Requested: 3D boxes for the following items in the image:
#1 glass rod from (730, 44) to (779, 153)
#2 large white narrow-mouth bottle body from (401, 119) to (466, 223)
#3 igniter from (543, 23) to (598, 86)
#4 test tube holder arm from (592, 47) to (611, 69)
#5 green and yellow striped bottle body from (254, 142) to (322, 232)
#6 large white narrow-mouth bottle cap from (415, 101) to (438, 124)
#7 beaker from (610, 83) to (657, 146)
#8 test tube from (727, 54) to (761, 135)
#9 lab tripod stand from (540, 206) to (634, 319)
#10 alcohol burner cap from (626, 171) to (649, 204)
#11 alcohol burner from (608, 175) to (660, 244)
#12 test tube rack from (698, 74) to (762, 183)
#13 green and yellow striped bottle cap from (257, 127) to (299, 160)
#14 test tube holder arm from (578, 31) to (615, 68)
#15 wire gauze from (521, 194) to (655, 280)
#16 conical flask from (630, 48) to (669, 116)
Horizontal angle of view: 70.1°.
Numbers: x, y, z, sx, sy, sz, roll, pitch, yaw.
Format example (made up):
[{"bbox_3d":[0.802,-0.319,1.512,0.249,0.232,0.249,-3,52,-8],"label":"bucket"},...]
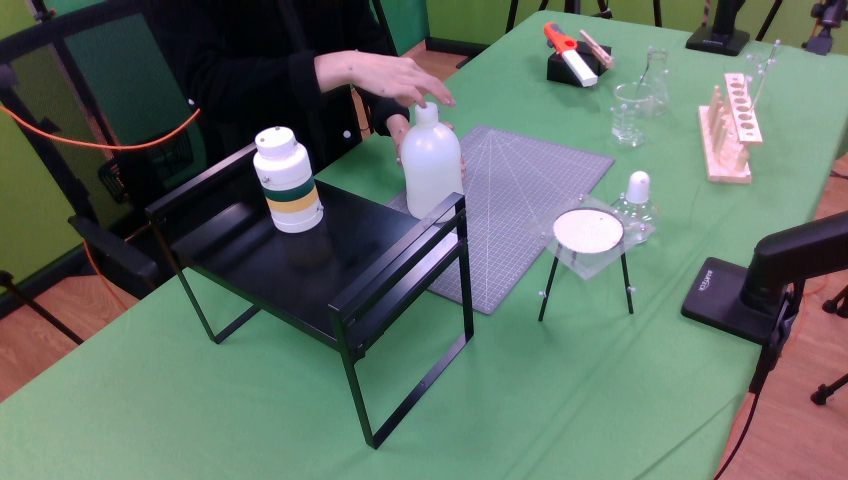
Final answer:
[{"bbox_3d":[0.555,-0.233,1.021,0.008,0.200,0.008,2,40,-1],"label":"glass rod"},{"bbox_3d":[0.013,-0.129,0.991,0.102,0.195,0.101,-5,39,4],"label":"large white narrow-mouth bottle body"},{"bbox_3d":[0.320,-0.419,1.345,0.057,0.025,0.274,-12,44,-3],"label":"igniter"},{"bbox_3d":[0.385,-0.398,1.317,0.010,0.015,0.087,-11,41,-2],"label":"test tube holder arm"},{"bbox_3d":[-0.165,-0.073,0.732,0.063,0.120,0.063,-4,41,4],"label":"green and yellow striped bottle body"},{"bbox_3d":[0.003,-0.198,0.937,0.038,0.024,0.037,-5,39,4],"label":"large white narrow-mouth bottle cap"},{"bbox_3d":[0.388,-0.235,1.138,0.074,0.101,0.083,-31,45,-25],"label":"beaker"},{"bbox_3d":[0.564,-0.254,1.069,0.017,0.151,0.017,-1,40,1],"label":"test tube"},{"bbox_3d":[0.218,0.034,0.821,0.148,0.132,0.147,-4,42,4],"label":"lab tripod stand"},{"bbox_3d":[0.320,-0.081,0.900,0.034,0.048,0.033,-4,42,4],"label":"alcohol burner cap"},{"bbox_3d":[0.322,-0.053,0.924,0.078,0.119,0.077,-4,43,4],"label":"alcohol burner"},{"bbox_3d":[0.547,-0.208,1.095,0.066,0.085,0.242,5,42,15],"label":"test tube rack"},{"bbox_3d":[-0.169,-0.112,0.698,0.045,0.020,0.045,-5,40,5],"label":"green and yellow striped bottle cap"},{"bbox_3d":[0.383,-0.428,1.351,0.013,0.015,0.177,-12,41,-3],"label":"test tube holder arm"},{"bbox_3d":[0.207,-0.012,0.772,0.122,0.011,0.124,-28,44,-20],"label":"wire gauze"},{"bbox_3d":[0.457,-0.317,1.205,0.075,0.122,0.075,-4,41,4],"label":"conical flask"}]
